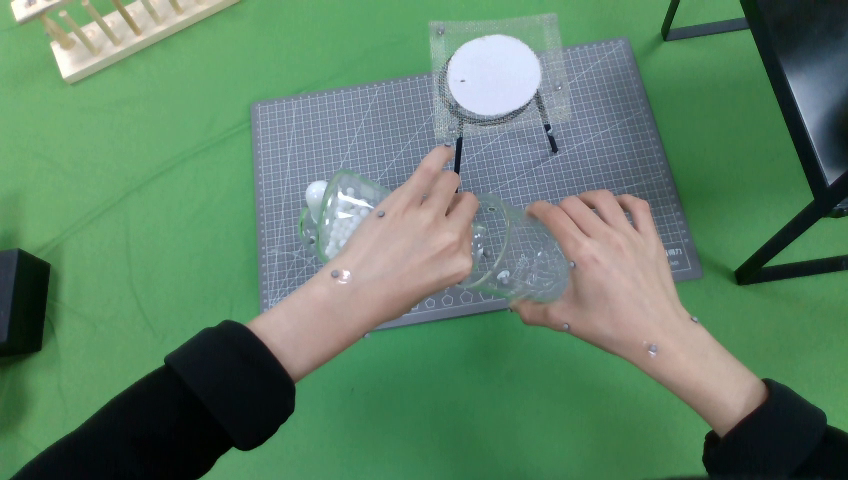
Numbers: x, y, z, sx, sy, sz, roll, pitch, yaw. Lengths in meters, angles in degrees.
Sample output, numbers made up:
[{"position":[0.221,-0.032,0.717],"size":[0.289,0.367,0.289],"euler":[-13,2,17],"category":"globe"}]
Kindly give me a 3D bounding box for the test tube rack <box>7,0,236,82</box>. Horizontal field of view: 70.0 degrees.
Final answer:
[{"position":[-0.363,-0.297,0.745],"size":[0.242,0.086,0.066],"euler":[-28,70,-5],"category":"test tube rack"}]

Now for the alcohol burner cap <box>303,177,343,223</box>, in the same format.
[{"position":[-0.097,-0.040,0.567],"size":[0.034,0.048,0.033],"euler":[-1,62,3],"category":"alcohol burner cap"}]

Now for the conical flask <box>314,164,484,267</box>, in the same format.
[{"position":[-0.017,-0.010,0.460],"size":[0.122,0.075,0.075],"euler":[12,71,-2],"category":"conical flask"}]

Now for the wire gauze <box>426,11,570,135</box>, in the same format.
[{"position":[0.065,-0.156,0.549],"size":[0.121,0.011,0.124],"euler":[-4,70,3],"category":"wire gauze"}]

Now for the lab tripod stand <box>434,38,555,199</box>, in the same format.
[{"position":[0.065,-0.126,0.611],"size":[0.148,0.132,0.147],"euler":[-1,68,4],"category":"lab tripod stand"}]

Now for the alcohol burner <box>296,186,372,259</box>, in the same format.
[{"position":[-0.093,-0.025,0.601],"size":[0.078,0.120,0.077],"euler":[-1,68,3],"category":"alcohol burner"}]

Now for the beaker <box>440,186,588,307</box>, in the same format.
[{"position":[0.073,0.012,0.479],"size":[0.084,0.101,0.073],"euler":[-47,41,32],"category":"beaker"}]
